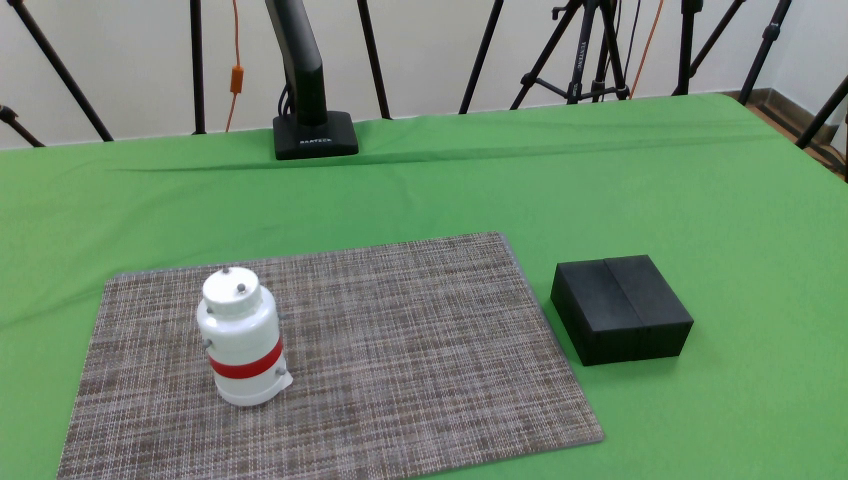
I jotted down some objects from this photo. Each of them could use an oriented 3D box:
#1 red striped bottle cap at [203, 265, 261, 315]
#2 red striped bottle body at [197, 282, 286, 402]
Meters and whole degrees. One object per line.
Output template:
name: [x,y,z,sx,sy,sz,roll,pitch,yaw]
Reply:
red striped bottle cap: [-0.156,0.039,0.492,0.044,0.018,0.044,4,37,-3]
red striped bottle body: [-0.158,0.081,0.525,0.063,0.121,0.062,2,39,-1]
